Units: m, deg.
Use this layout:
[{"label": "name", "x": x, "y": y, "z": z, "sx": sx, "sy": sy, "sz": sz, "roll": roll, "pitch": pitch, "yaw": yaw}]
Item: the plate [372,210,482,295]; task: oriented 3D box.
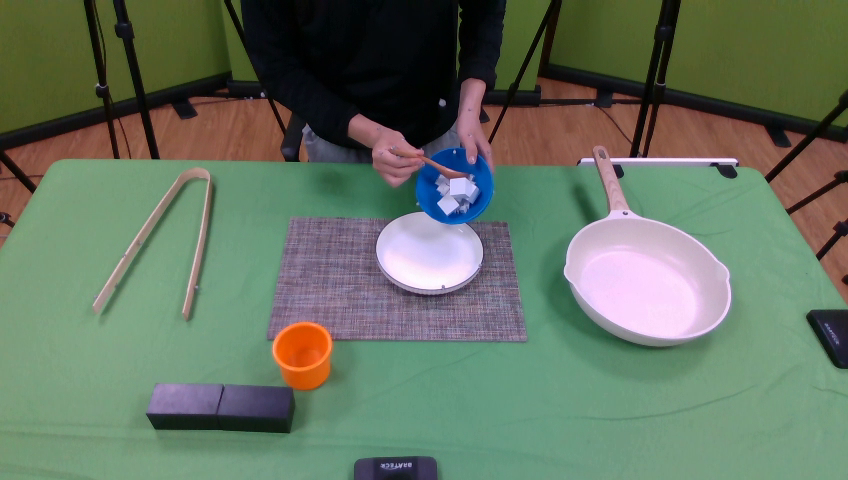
[{"label": "plate", "x": 0.005, "y": 0.028, "z": 1.155, "sx": 0.208, "sy": 0.039, "sz": 0.206, "roll": 2, "pitch": 46, "yaw": -2}]

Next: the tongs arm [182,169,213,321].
[{"label": "tongs arm", "x": -0.436, "y": -0.005, "z": 1.166, "sx": 0.028, "sy": 0.028, "sz": 0.385, "roll": -5, "pitch": 46, "yaw": -6}]

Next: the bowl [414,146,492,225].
[{"label": "bowl", "x": 0.063, "y": -0.097, "z": 1.165, "sx": 0.151, "sy": 0.077, "sz": 0.151, "roll": -3, "pitch": 80, "yaw": 15}]

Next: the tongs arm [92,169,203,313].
[{"label": "tongs arm", "x": -0.517, "y": -0.012, "z": 1.160, "sx": 0.051, "sy": 0.026, "sz": 0.382, "roll": 7, "pitch": 45, "yaw": 1}]

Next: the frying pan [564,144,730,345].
[{"label": "frying pan", "x": 0.396, "y": -0.008, "z": 1.179, "sx": 0.307, "sy": 0.103, "sz": 0.484, "roll": 0, "pitch": 55, "yaw": -5}]

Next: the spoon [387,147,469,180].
[{"label": "spoon", "x": 0.008, "y": -0.141, "z": 1.113, "sx": 0.195, "sy": 0.041, "sz": 0.021, "roll": 18, "pitch": 75, "yaw": -38}]
